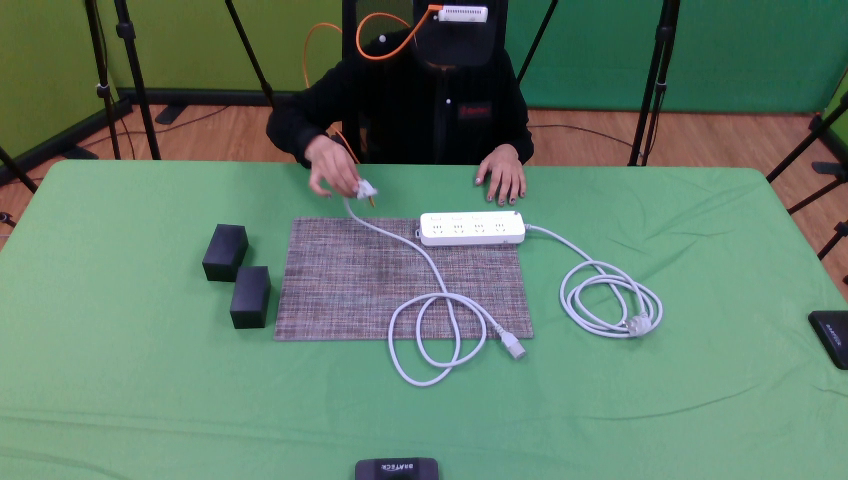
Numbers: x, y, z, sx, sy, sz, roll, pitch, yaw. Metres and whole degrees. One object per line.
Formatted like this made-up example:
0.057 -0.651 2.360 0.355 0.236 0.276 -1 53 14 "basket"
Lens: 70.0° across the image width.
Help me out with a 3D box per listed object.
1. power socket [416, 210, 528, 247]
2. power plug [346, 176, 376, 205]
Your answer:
0.097 -0.024 1.213 0.227 0.033 0.071 -2 47 -6 "power socket"
-0.107 -0.084 1.062 0.035 0.072 0.052 -18 93 -21 "power plug"
